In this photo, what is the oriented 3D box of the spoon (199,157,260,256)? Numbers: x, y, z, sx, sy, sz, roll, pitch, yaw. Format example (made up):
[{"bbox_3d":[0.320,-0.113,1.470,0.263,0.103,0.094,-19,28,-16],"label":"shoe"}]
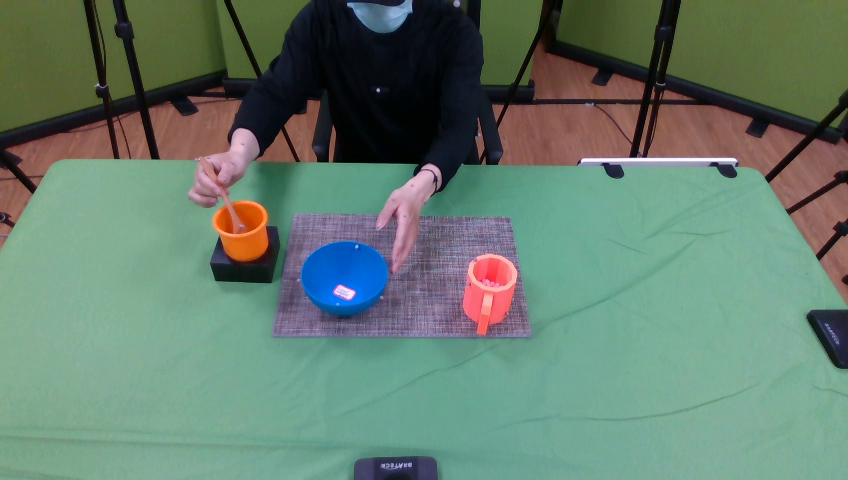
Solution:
[{"bbox_3d":[-0.343,-0.059,1.066,0.021,0.194,0.041,-10,17,48],"label":"spoon"}]

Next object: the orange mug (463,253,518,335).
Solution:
[{"bbox_3d":[0.112,0.098,1.050,0.083,0.101,0.125,10,41,6],"label":"orange mug"}]

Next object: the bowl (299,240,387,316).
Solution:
[{"bbox_3d":[-0.139,0.081,1.064,0.151,0.077,0.150,2,46,-2],"label":"bowl"}]
